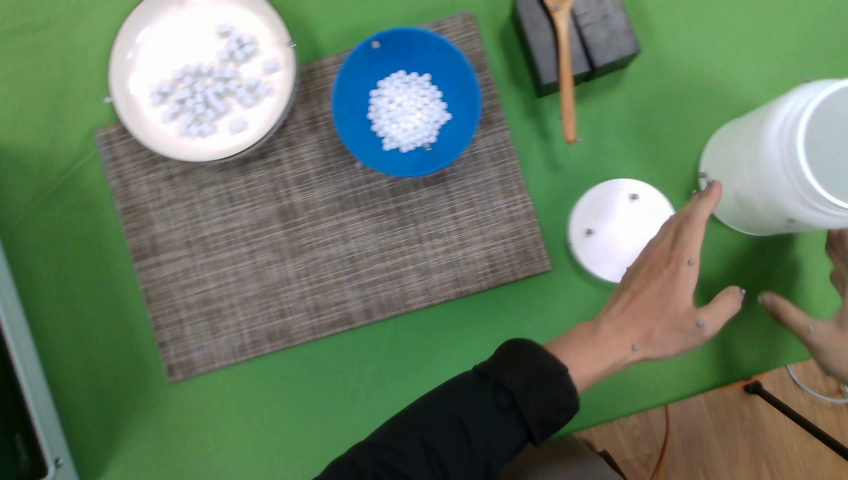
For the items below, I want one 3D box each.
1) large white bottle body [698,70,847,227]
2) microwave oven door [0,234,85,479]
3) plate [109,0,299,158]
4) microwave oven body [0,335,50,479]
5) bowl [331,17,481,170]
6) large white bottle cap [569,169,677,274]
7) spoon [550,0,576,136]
[{"bbox_3d":[0.358,-0.082,0.572,0.130,0.185,0.130,0,89,3],"label":"large white bottle body"},{"bbox_3d":[-0.453,0.113,0.558,0.039,0.244,0.355,-20,88,2],"label":"microwave oven door"},{"bbox_3d":[-0.237,-0.190,0.668,0.209,0.038,0.208,0,87,3],"label":"plate"},{"bbox_3d":[-0.605,0.121,0.569,0.326,0.260,0.441,-19,89,1],"label":"microwave oven body"},{"bbox_3d":[-0.016,-0.144,0.637,0.151,0.077,0.151,0,90,3],"label":"bowl"},{"bbox_3d":[0.217,-0.020,0.661,0.115,0.018,0.114,0,90,1],"label":"large white bottle cap"},{"bbox_3d":[0.143,-0.204,0.618,0.041,0.021,0.194,-5,94,-1],"label":"spoon"}]
